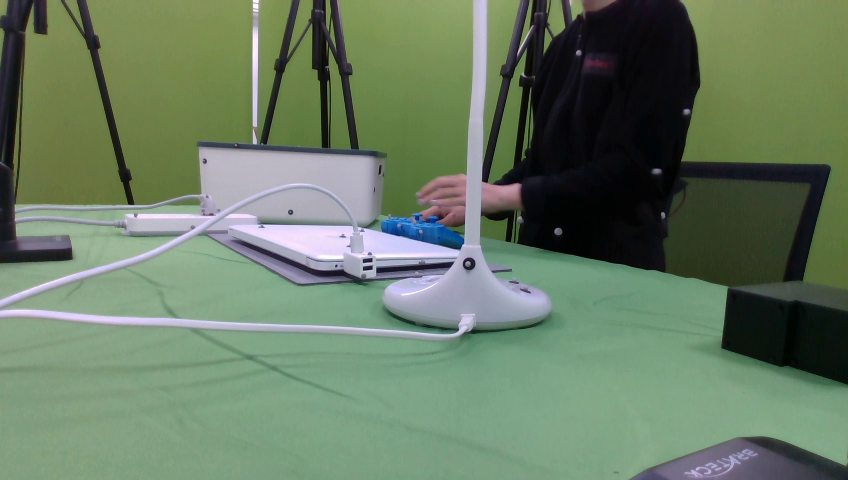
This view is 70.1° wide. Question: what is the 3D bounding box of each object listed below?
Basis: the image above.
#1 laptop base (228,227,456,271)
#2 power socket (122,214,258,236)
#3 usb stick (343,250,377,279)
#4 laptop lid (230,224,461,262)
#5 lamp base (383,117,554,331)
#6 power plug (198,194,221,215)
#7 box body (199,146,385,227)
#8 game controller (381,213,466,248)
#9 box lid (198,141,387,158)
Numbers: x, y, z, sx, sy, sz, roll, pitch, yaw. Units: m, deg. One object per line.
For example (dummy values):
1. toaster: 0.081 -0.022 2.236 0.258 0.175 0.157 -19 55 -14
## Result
1. laptop base: -0.122 0.011 0.889 0.237 0.023 0.352 2 6 -35
2. power socket: -0.398 -0.028 1.049 0.228 0.032 0.072 -3 8 -34
3. usb stick: -0.076 0.026 0.687 0.021 0.027 0.059 -8 8 -31
4. laptop lid: -0.120 0.000 0.888 0.243 0.013 0.355 1 7 -33
5. lamp base: 0.045 -0.019 0.547 0.161 0.180 0.179 2 10 -4
6. power plug: -0.387 -0.055 1.089 0.035 0.052 0.072 -1 7 -22
7. box body: -0.276 -0.124 1.334 0.364 0.160 0.254 3 7 1
8. game controller: -0.006 -0.017 1.039 0.097 0.051 0.154 -6 10 -33
9. box lid: -0.275 -0.197 1.326 0.372 0.015 0.263 4 8 1
